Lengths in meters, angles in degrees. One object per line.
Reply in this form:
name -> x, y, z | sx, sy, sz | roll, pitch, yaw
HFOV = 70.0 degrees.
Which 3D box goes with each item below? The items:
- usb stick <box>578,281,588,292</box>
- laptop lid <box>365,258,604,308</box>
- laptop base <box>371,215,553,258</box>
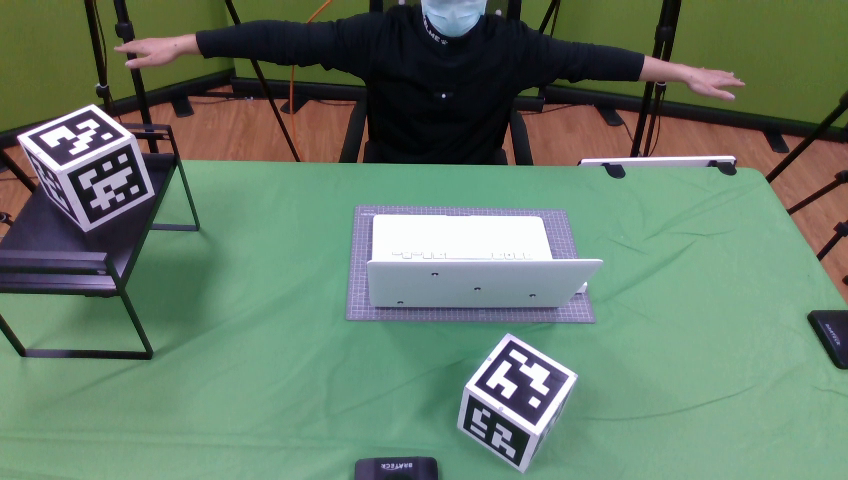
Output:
usb stick -> 0.271, 0.082, 1.119 | 0.059, 0.027, 0.021 | -2, 47, -1
laptop lid -> 0.085, 0.074, 0.978 | 0.357, 0.242, 0.013 | 1, 67, -5
laptop base -> 0.075, 0.037, 1.167 | 0.355, 0.023, 0.234 | 0, 43, -4
